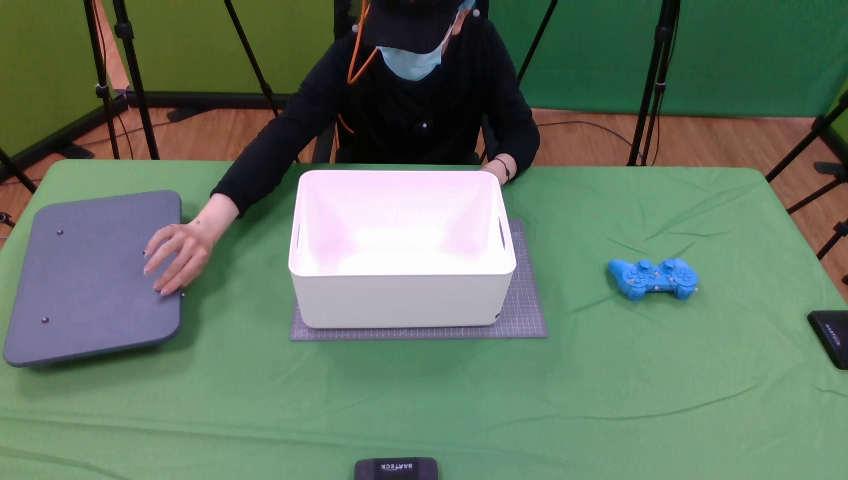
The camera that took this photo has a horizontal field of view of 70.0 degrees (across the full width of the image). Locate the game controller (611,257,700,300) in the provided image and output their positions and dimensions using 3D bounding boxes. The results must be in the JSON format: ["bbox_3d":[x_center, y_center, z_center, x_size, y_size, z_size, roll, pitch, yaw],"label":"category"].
[{"bbox_3d":[0.441,0.063,1.144,0.155,0.052,0.096,-1,50,-4],"label":"game controller"}]

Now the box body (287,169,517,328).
[{"bbox_3d":[-0.040,0.015,1.075,0.364,0.161,0.252,-1,47,-4],"label":"box body"}]

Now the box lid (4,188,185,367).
[{"bbox_3d":[-0.558,0.048,1.060,0.264,0.015,0.369,-9,48,-12],"label":"box lid"}]
